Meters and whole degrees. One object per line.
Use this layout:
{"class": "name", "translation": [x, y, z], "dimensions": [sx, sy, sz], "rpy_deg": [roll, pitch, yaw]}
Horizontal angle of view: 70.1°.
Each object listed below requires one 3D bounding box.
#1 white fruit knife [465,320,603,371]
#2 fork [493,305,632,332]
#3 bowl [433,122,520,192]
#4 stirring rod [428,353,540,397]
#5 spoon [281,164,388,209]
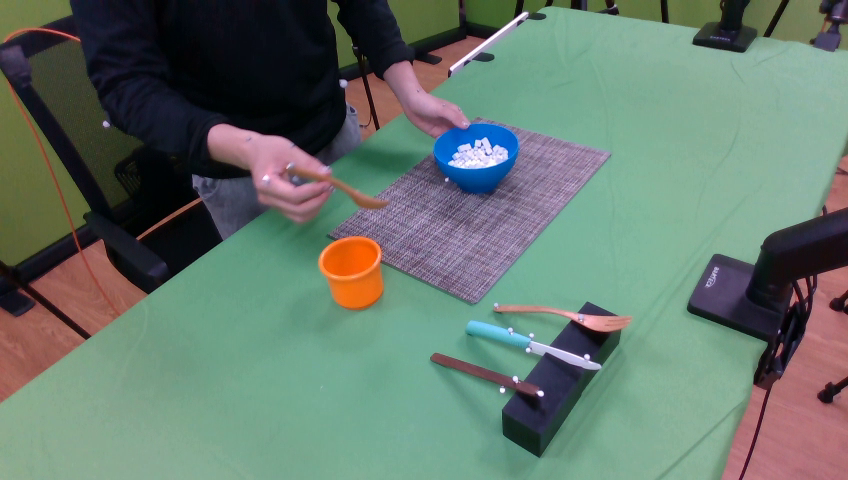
{"class": "white fruit knife", "translation": [0.128, 0.129, 0.749], "dimensions": [0.205, 0.027, 0.016], "rpy_deg": [10, 44, 43]}
{"class": "fork", "translation": [0.171, 0.097, 0.783], "dimensions": [0.205, 0.019, 0.028], "rpy_deg": [4, 40, 43]}
{"class": "bowl", "translation": [0.093, -0.137, 1.064], "dimensions": [0.151, 0.077, 0.150], "rpy_deg": [-4, 41, 4]}
{"class": "stirring rod", "translation": [0.068, 0.162, 0.736], "dimensions": [0.174, 0.006, 0.014], "rpy_deg": [8, 40, 47]}
{"class": "spoon", "translation": [-0.107, -0.066, 0.747], "dimensions": [0.041, 0.195, 0.021], "rpy_deg": [-1, 76, 32]}
